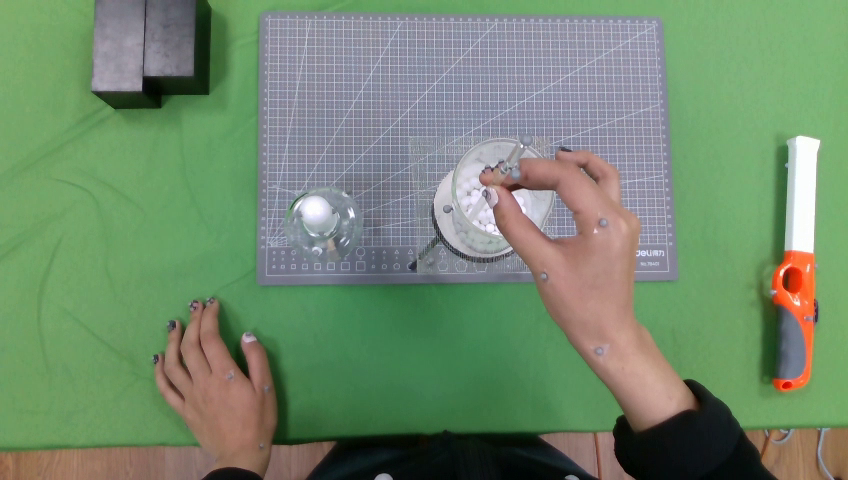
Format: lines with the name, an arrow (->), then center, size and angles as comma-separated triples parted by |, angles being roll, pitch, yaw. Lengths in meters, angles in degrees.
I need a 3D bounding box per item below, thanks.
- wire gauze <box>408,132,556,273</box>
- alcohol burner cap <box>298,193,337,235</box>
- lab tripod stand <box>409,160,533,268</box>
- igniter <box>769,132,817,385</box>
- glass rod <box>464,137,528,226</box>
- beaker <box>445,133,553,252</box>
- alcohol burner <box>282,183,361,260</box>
wire gauze -> 0.050, -0.033, 0.521 | 0.125, 0.011, 0.121 | -2, 82, -1
alcohol burner cap -> -0.099, -0.025, 0.552 | 0.034, 0.048, 0.033 | 0, 79, -1
lab tripod stand -> 0.046, -0.021, 0.586 | 0.148, 0.132, 0.148 | 0, 82, -1
igniter -> 0.402, 0.019, 0.657 | 0.057, 0.025, 0.275 | 8, 83, -13
glass rod -> 0.044, -0.032, 0.411 | 0.008, 0.200, 0.008 | 1, 79, -4
beaker -> 0.055, -0.029, 0.473 | 0.074, 0.100, 0.084 | -33, 84, -6
alcohol burner -> -0.101, -0.021, 0.588 | 0.078, 0.119, 0.077 | 1, 81, -3
